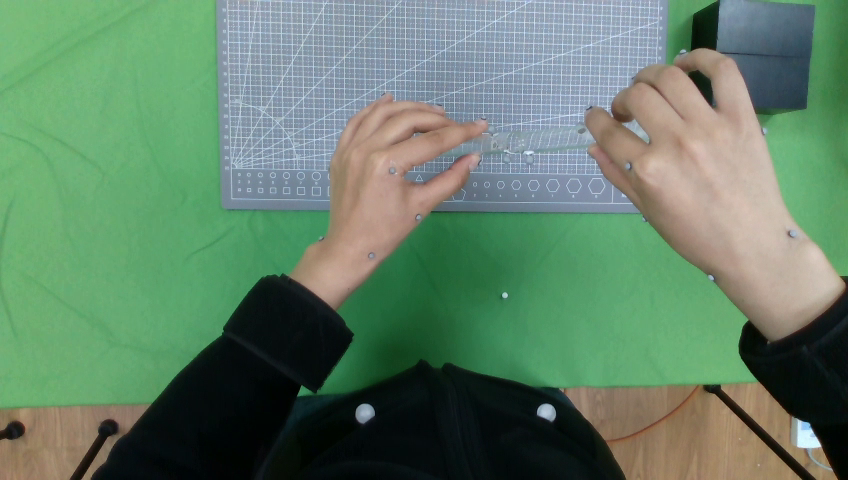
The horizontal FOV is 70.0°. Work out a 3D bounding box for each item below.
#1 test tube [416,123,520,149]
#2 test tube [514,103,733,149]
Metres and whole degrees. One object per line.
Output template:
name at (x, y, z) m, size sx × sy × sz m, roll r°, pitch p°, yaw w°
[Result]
test tube at (0.029, -0.081, 0.482) m, size 0.017 × 0.149 × 0.017 m, roll -4°, pitch 99°, yaw -25°
test tube at (0.136, -0.078, 0.414) m, size 0.150 × 0.017 × 0.017 m, roll -7°, pitch 96°, yaw -2°
